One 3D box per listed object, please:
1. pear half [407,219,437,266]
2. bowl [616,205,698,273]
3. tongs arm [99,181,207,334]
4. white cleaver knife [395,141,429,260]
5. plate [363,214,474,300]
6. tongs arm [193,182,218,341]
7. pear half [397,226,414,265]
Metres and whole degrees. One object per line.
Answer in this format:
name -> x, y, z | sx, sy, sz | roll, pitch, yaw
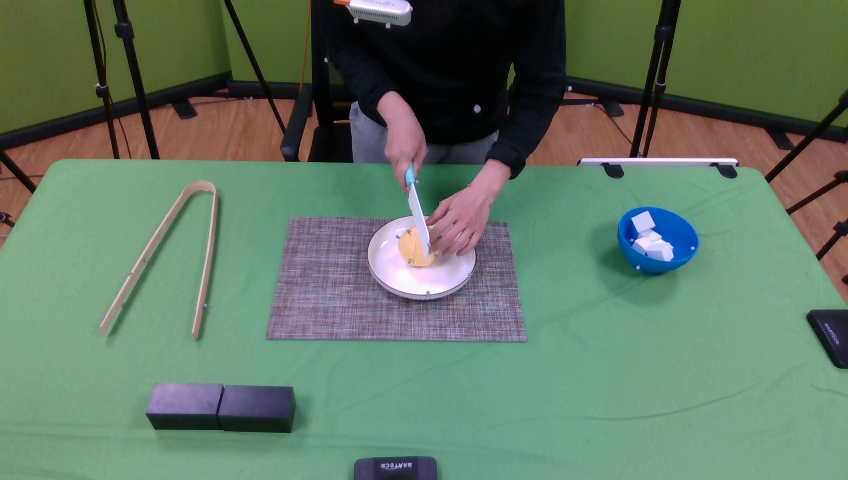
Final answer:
pear half -> -0.003, 0.000, 1.118 | 0.056, 0.110, 0.076 | 0, 54, 3
bowl -> 0.443, 0.011, 1.182 | 0.151, 0.077, 0.150 | 2, 46, -2
tongs arm -> -0.494, 0.018, 1.132 | 0.051, 0.026, 0.382 | 7, 45, 0
white cleaver knife -> -0.025, -0.079, 1.106 | 0.021, 0.066, 0.284 | -1, 46, -13
plate -> -0.010, 0.036, 1.147 | 0.208, 0.039, 0.206 | 2, 46, -2
tongs arm -> -0.413, 0.025, 1.140 | 0.028, 0.028, 0.385 | -5, 47, -7
pear half -> -0.035, 0.007, 1.124 | 0.031, 0.088, 0.070 | -5, 52, -9
